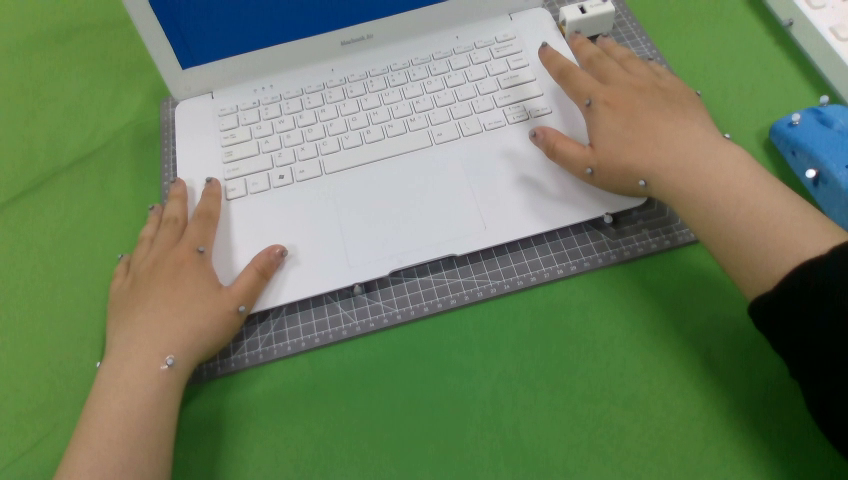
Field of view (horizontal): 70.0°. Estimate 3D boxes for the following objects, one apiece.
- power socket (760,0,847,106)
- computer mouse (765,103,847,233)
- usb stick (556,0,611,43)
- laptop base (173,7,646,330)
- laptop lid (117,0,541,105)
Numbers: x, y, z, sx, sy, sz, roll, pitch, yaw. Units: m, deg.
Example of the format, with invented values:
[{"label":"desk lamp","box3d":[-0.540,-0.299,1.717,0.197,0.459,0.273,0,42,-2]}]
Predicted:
[{"label":"power socket","box3d":[0.350,-0.190,0.516,0.072,0.033,0.224,-13,57,1]},{"label":"computer mouse","box3d":[0.304,-0.059,0.436,0.063,0.041,0.116,-16,52,0]},{"label":"usb stick","box3d":[0.135,-0.195,0.542,0.059,0.027,0.021,-16,57,2]},{"label":"laptop base","box3d":[-0.030,-0.073,0.503,0.354,0.023,0.233,-16,61,-2]},{"label":"laptop lid","box3d":[-0.079,-0.249,0.483,0.357,0.244,0.013,-17,44,-1]}]
